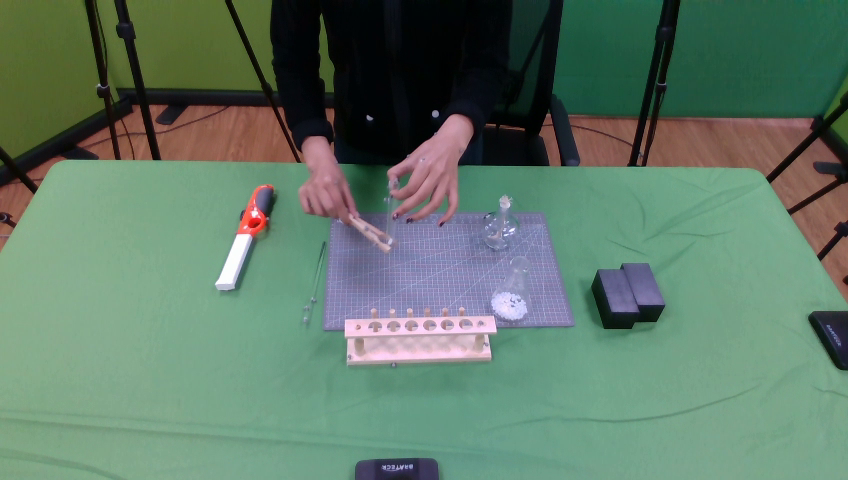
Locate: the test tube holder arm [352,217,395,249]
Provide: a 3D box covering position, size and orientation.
[{"bbox_3d":[-0.091,-0.013,1.064,0.087,0.015,0.010,30,53,7],"label":"test tube holder arm"}]

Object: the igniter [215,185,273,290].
[{"bbox_3d":[-0.347,-0.014,1.182,0.057,0.025,0.275,-1,45,8],"label":"igniter"}]

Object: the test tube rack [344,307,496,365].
[{"bbox_3d":[-0.009,0.154,1.007,0.242,0.085,0.066,-1,46,-5],"label":"test tube rack"}]

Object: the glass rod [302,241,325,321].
[{"bbox_3d":[-0.204,0.071,1.124,0.008,0.008,0.198,4,44,0],"label":"glass rod"}]

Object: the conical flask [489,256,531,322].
[{"bbox_3d":[0.158,0.081,1.061,0.075,0.122,0.075,2,46,-2],"label":"conical flask"}]

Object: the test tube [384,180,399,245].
[{"bbox_3d":[-0.054,-0.041,0.984,0.017,0.151,0.017,4,51,-4],"label":"test tube"}]

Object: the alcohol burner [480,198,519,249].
[{"bbox_3d":[0.150,-0.038,1.182,0.078,0.119,0.077,3,47,-3],"label":"alcohol burner"}]

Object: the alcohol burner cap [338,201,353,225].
[{"bbox_3d":[-0.159,-0.056,1.224,0.034,0.048,0.033,2,47,-2],"label":"alcohol burner cap"}]

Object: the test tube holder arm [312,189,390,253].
[{"bbox_3d":[-0.130,-0.035,1.069,0.178,0.015,0.013,36,54,12],"label":"test tube holder arm"}]
